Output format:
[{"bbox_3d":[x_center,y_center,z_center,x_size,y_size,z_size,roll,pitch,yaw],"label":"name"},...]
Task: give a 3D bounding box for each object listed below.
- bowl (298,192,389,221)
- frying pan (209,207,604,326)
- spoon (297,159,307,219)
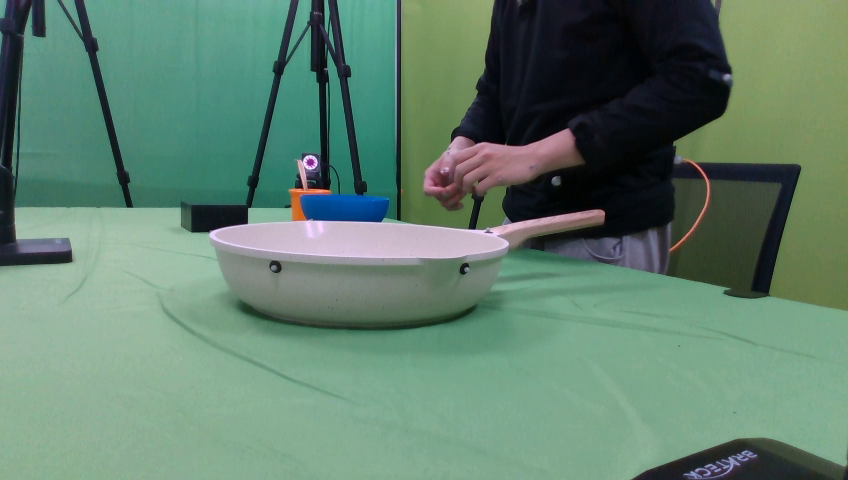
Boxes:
[{"bbox_3d":[-0.136,-0.037,1.018,0.151,0.077,0.151,3,7,0],"label":"bowl"},{"bbox_3d":[0.026,0.005,0.665,0.490,0.102,0.305,-12,14,-30],"label":"frying pan"},{"bbox_3d":[-0.264,-0.114,1.338,0.042,0.193,0.021,0,-37,-21],"label":"spoon"}]
